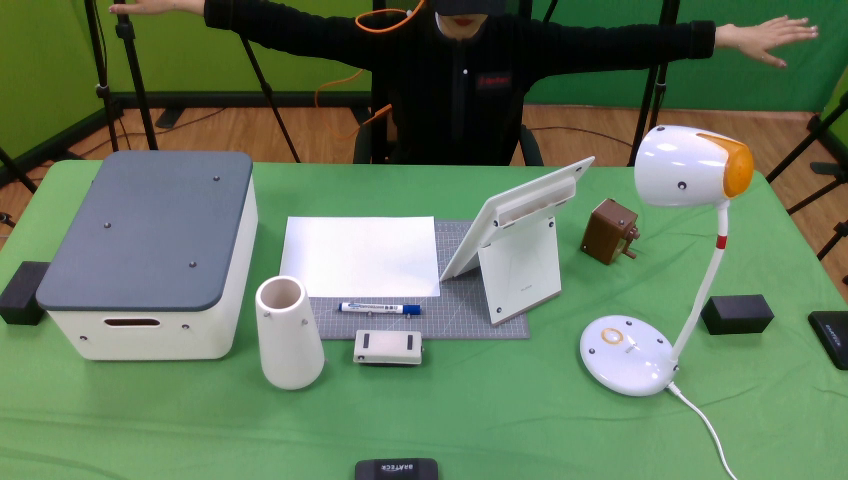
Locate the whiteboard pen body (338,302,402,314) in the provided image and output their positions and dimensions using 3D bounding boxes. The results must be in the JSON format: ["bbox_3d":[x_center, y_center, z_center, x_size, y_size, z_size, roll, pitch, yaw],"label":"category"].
[{"bbox_3d":[-0.083,0.121,1.074,0.141,0.017,0.017,3,46,-2],"label":"whiteboard pen body"}]

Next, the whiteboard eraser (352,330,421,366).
[{"bbox_3d":[-0.061,0.180,1.005,0.113,0.042,0.055,3,48,-3],"label":"whiteboard eraser"}]

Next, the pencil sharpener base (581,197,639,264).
[{"bbox_3d":[0.362,-0.016,1.178,0.076,0.107,0.061,35,53,26],"label":"pencil sharpener base"}]

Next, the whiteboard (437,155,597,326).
[{"bbox_3d":[0.180,0.023,1.029,0.217,0.306,0.143,-21,71,-23],"label":"whiteboard"}]

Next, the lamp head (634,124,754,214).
[{"bbox_3d":[0.351,-0.089,0.776,0.112,0.113,0.122,-30,30,-28],"label":"lamp head"}]

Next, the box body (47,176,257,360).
[{"bbox_3d":[-0.441,0.022,1.046,0.254,0.161,0.361,0,46,-5],"label":"box body"}]

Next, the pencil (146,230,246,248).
[{"bbox_3d":[-0.439,-0.001,1.166,0.194,0.012,0.012,-8,47,0],"label":"pencil"}]

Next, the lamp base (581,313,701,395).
[{"bbox_3d":[0.361,0.144,0.972,0.178,0.181,0.160,34,53,23],"label":"lamp base"}]

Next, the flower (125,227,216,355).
[{"bbox_3d":[-0.466,0.077,1.080,0.044,0.038,0.359,-40,56,-12],"label":"flower"}]

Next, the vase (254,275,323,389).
[{"bbox_3d":[-0.209,0.143,0.921,0.098,0.201,0.097,1,46,-1],"label":"vase"}]

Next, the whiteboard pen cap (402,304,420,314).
[{"bbox_3d":[-0.024,0.123,1.076,0.033,0.018,0.018,1,46,1],"label":"whiteboard pen cap"}]

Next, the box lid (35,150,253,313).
[{"bbox_3d":[-0.436,-0.032,0.994,0.263,0.015,0.369,0,46,-5],"label":"box lid"}]

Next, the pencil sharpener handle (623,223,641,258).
[{"bbox_3d":[0.399,0.002,1.146,0.030,0.068,0.036,35,45,26],"label":"pencil sharpener handle"}]
